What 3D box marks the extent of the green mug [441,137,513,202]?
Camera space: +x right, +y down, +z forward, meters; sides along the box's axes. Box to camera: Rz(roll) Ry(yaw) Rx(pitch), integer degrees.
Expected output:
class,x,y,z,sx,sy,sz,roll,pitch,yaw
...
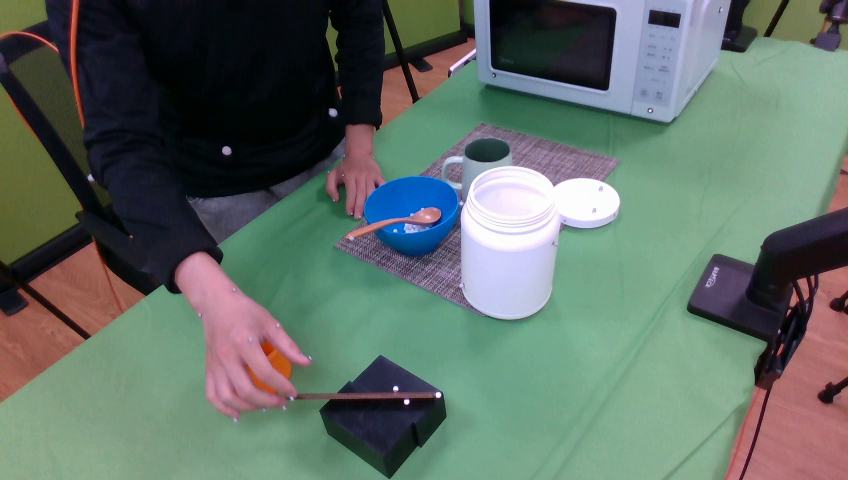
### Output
class,x,y,z,sx,sy,sz,roll,pitch,yaw
green mug,0.091,-0.108,1.012,0.125,0.105,0.092,2,42,12

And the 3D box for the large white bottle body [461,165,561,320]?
class,x,y,z,sx,sy,sz,roll,pitch,yaw
large white bottle body,0.115,0.004,0.816,0.130,0.185,0.130,-2,43,2

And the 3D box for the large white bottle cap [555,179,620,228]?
class,x,y,z,sx,sy,sz,roll,pitch,yaw
large white bottle cap,0.265,-0.062,1.001,0.115,0.018,0.114,-3,41,3

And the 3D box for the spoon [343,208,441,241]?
class,x,y,z,sx,sy,sz,roll,pitch,yaw
spoon,-0.046,-0.025,0.911,0.041,0.021,0.195,26,27,38

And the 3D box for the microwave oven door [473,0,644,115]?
class,x,y,z,sx,sy,sz,roll,pitch,yaw
microwave oven door,0.257,-0.396,1.199,0.353,0.245,0.039,21,48,29

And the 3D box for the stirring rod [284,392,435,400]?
class,x,y,z,sx,sy,sz,roll,pitch,yaw
stirring rod,-0.075,0.180,0.698,0.176,0.006,0.014,-2,6,6

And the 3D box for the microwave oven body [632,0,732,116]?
class,x,y,z,sx,sy,sz,roll,pitch,yaw
microwave oven body,0.377,-0.462,1.267,0.438,0.261,0.327,21,48,30

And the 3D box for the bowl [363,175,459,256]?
class,x,y,z,sx,sy,sz,roll,pitch,yaw
bowl,-0.016,-0.029,0.955,0.151,0.077,0.150,-4,40,4

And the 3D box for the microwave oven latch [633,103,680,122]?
class,x,y,z,sx,sy,sz,roll,pitch,yaw
microwave oven latch,0.444,-0.249,1.157,0.078,0.029,0.030,21,49,30
